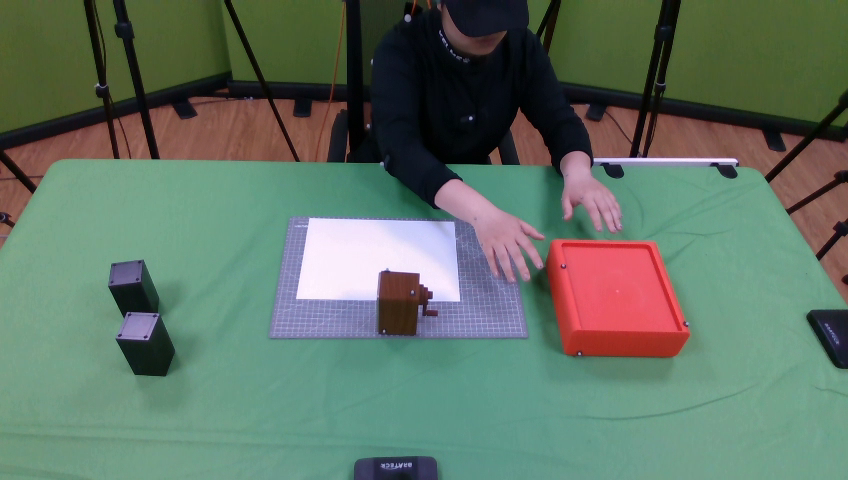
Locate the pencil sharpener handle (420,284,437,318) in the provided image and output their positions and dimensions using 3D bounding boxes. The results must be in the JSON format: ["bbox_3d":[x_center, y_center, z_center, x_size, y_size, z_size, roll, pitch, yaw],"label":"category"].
[{"bbox_3d":[0.009,0.104,1.016,0.030,0.068,0.036,3,37,-2],"label":"pencil sharpener handle"}]

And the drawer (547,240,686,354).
[{"bbox_3d":[0.336,0.099,1.087,0.195,0.073,0.210,2,47,-3],"label":"drawer"}]

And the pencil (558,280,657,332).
[{"bbox_3d":[0.334,0.121,1.105,0.193,0.012,0.012,27,49,14],"label":"pencil"}]

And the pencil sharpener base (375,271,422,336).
[{"bbox_3d":[-0.043,0.109,1.025,0.077,0.107,0.061,3,45,-2],"label":"pencil sharpener base"}]

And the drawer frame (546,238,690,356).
[{"bbox_3d":[0.337,0.098,1.084,0.202,0.083,0.212,1,46,-4],"label":"drawer frame"}]
